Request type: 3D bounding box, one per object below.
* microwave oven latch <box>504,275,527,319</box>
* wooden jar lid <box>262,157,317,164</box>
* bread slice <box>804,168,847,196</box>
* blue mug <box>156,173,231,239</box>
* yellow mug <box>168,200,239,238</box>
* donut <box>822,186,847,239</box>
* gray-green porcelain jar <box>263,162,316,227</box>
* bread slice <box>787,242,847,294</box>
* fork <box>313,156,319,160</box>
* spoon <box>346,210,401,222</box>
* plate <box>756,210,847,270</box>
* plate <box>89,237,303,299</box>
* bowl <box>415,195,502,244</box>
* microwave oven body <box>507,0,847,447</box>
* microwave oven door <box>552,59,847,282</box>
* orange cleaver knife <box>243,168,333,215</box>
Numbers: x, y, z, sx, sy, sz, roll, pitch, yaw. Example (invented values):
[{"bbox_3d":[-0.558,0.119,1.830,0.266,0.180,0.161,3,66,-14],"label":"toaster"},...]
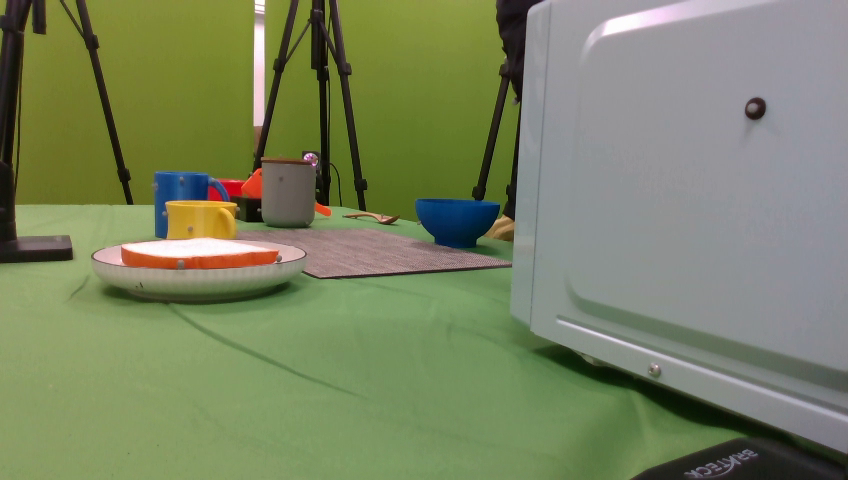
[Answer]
[{"bbox_3d":[0.100,0.042,0.470,0.079,0.029,0.030,-1,7,-27],"label":"microwave oven latch"},{"bbox_3d":[-0.269,-0.154,1.209,0.108,0.020,0.108,3,4,0],"label":"wooden jar lid"},{"bbox_3d":[0.363,-0.050,0.454,0.135,0.018,0.106,-9,3,-23],"label":"bread slice"},{"bbox_3d":[-0.381,-0.057,1.004,0.117,0.106,0.082,1,8,-12],"label":"blue mug"},{"bbox_3d":[-0.320,-0.023,0.904,0.130,0.064,0.100,9,11,36],"label":"yellow mug"},{"bbox_3d":[0.361,-0.023,0.461,0.099,0.048,0.099,-7,7,1],"label":"donut"},{"bbox_3d":[-0.271,-0.092,1.217,0.106,0.126,0.106,2,7,0],"label":"gray-green porcelain jar"},{"bbox_3d":[0.373,0.016,0.471,0.132,0.019,0.104,-16,12,-19],"label":"bread slice"},{"bbox_3d":[-0.331,-0.144,1.506,0.207,0.018,0.028,-42,-18,22],"label":"fork"},{"bbox_3d":[-0.121,-0.060,1.400,0.042,0.021,0.192,-27,24,-38],"label":"spoon"},{"bbox_3d":[0.368,0.005,0.461,0.209,0.038,0.209,5,7,0],"label":"plate"},{"bbox_3d":[-0.233,0.029,0.637,0.208,0.039,0.207,2,7,0],"label":"plate"},{"bbox_3d":[0.059,-0.035,1.049,0.151,0.077,0.151,2,7,0],"label":"bowl"},{"bbox_3d":[0.331,-0.042,0.426,0.444,0.260,0.324,-2,8,-31],"label":"microwave oven body"},{"bbox_3d":[0.328,-0.093,0.781,0.039,0.243,0.354,-5,10,-42],"label":"microwave oven door"},{"bbox_3d":[-0.300,-0.089,1.352,0.212,0.077,0.012,28,-10,-34],"label":"orange cleaver knife"}]
